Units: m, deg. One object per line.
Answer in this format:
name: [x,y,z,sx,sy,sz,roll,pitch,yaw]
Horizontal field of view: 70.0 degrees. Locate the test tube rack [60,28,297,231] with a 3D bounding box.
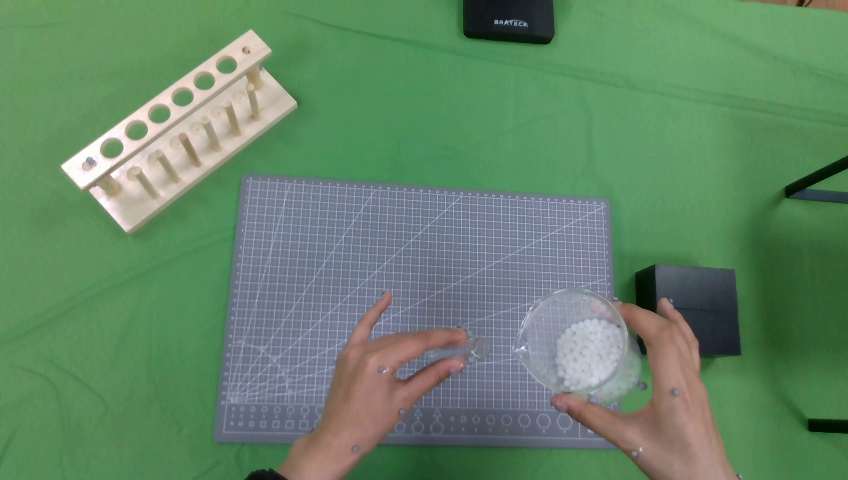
test tube rack: [-0.258,-0.121,0.668,0.242,0.085,0.066,-42,85,-15]

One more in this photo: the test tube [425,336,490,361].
test tube: [0.025,0.095,0.525,0.017,0.150,0.017,3,77,-14]

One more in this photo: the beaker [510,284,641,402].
beaker: [0.119,0.083,0.456,0.084,0.101,0.073,-15,65,23]
